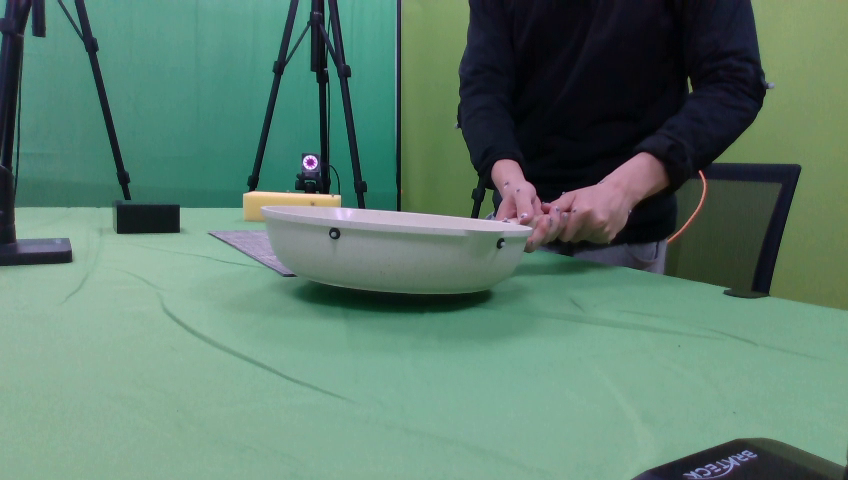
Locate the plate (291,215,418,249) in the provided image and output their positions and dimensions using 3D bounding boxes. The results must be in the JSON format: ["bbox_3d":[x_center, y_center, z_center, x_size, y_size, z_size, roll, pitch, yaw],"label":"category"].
[{"bbox_3d":[-0.115,-0.013,1.002,0.208,0.039,0.207,2,7,0],"label":"plate"}]

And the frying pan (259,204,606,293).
[{"bbox_3d":[0.055,-0.011,0.720,0.490,0.102,0.305,-9,12,-34],"label":"frying pan"}]

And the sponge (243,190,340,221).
[{"bbox_3d":[-0.298,-0.077,1.388,0.207,0.061,0.118,2,8,-7],"label":"sponge"}]
